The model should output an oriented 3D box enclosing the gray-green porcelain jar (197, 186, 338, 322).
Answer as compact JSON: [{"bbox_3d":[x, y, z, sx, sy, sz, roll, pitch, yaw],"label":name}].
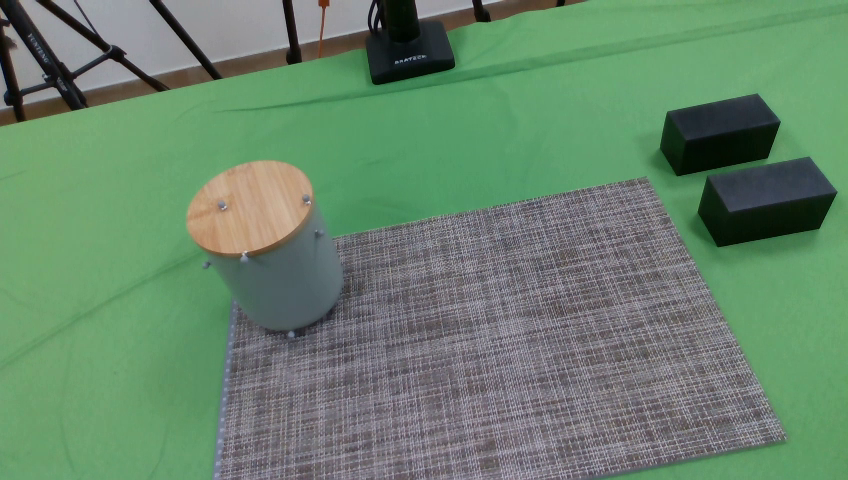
[{"bbox_3d":[-0.142,0.008,0.570,0.106,0.128,0.105,-5,50,6],"label":"gray-green porcelain jar"}]

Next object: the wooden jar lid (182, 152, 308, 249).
[{"bbox_3d":[-0.152,-0.032,0.523,0.108,0.021,0.107,-3,53,4],"label":"wooden jar lid"}]
